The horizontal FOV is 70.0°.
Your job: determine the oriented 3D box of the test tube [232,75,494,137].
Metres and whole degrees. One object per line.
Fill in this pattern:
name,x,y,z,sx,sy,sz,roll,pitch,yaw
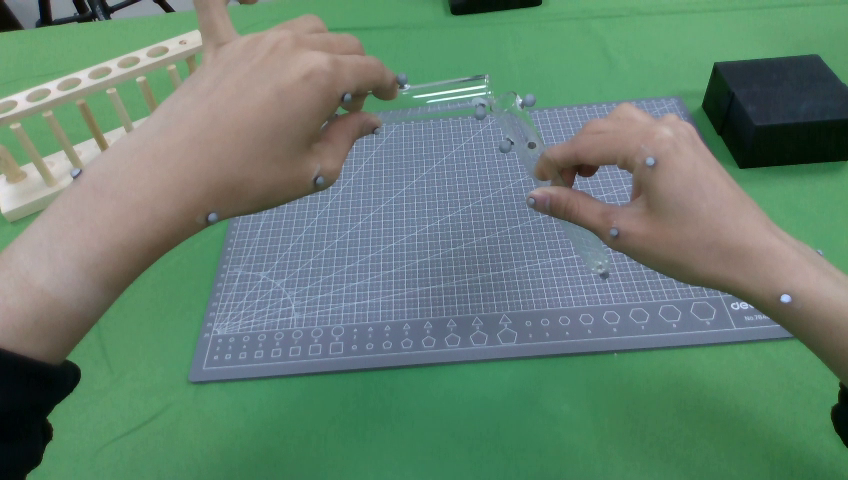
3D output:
test tube,-0.037,-0.070,0.322,0.150,0.017,0.017,-4,46,17

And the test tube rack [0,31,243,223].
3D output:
test tube rack,-0.317,-0.117,0.606,0.242,0.086,0.066,-29,51,-19

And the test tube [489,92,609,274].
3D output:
test tube,0.077,-0.026,0.348,0.017,0.152,0.017,-22,43,22
